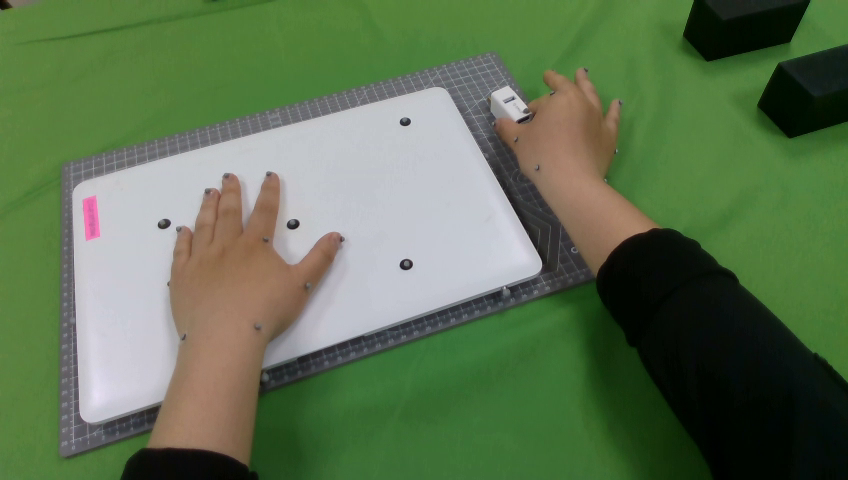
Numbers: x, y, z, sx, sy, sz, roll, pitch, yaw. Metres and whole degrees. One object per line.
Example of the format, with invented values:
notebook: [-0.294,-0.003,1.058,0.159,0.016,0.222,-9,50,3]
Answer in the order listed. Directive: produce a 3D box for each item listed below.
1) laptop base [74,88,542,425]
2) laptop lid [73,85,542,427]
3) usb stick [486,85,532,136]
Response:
laptop base: [-0.108,-0.007,0.513,0.355,0.023,0.233,-18,58,-10]
laptop lid: [-0.108,-0.011,0.504,0.357,0.013,0.239,-17,58,-8]
usb stick: [0.079,-0.128,0.582,0.021,0.027,0.058,-26,53,-11]
